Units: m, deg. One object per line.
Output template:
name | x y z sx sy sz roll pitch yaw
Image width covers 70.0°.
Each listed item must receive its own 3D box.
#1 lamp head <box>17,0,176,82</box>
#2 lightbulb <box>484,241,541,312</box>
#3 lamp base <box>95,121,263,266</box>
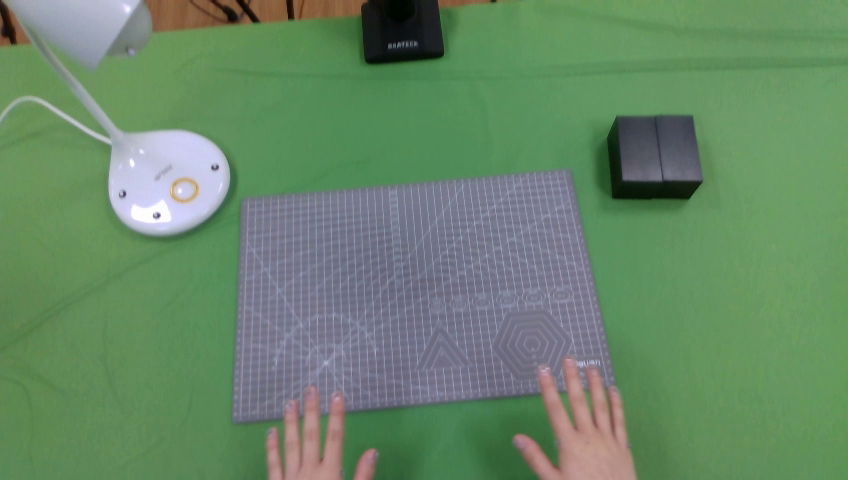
lamp head | -0.268 -0.201 0.481 0.124 0.112 0.111 25 63 -28
lightbulb | 0.105 0.042 0.755 0.059 0.060 0.106 -21 51 -8
lamp base | -0.310 -0.074 0.742 0.179 0.181 0.159 10 66 9
